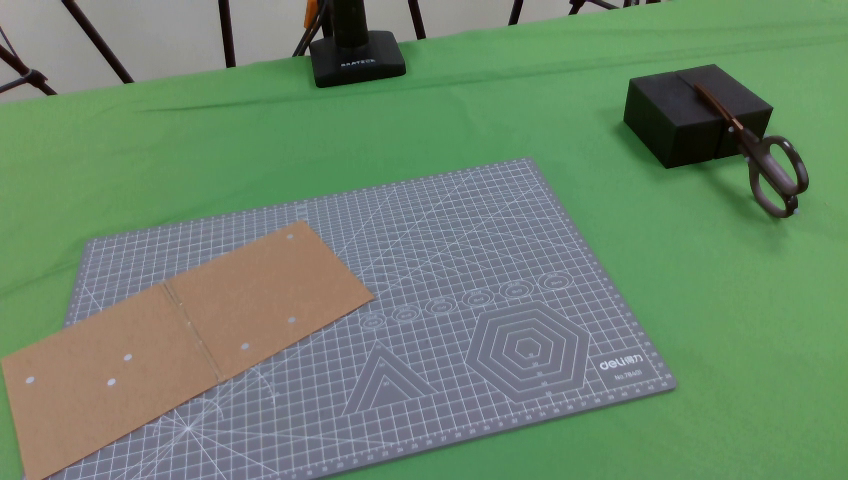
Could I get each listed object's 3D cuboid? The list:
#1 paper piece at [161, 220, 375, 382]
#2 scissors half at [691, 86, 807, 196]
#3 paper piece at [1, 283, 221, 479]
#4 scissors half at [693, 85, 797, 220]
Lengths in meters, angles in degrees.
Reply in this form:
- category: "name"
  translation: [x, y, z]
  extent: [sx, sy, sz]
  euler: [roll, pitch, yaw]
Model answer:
- category: "paper piece"
  translation: [-0.135, 0.043, 0.517]
  extent: [0.138, 0.009, 0.134]
  euler: [-26, 50, -24]
- category: "scissors half"
  translation: [0.295, -0.101, 0.564]
  extent: [0.013, 0.040, 0.173]
  euler: [-19, 42, 0]
- category: "paper piece"
  translation: [-0.243, 0.099, 0.464]
  extent: [0.136, 0.004, 0.134]
  euler: [-27, 46, -23]
- category: "scissors half"
  translation: [0.299, -0.089, 0.579]
  extent: [0.013, 0.040, 0.173]
  euler: [-16, 59, -3]
